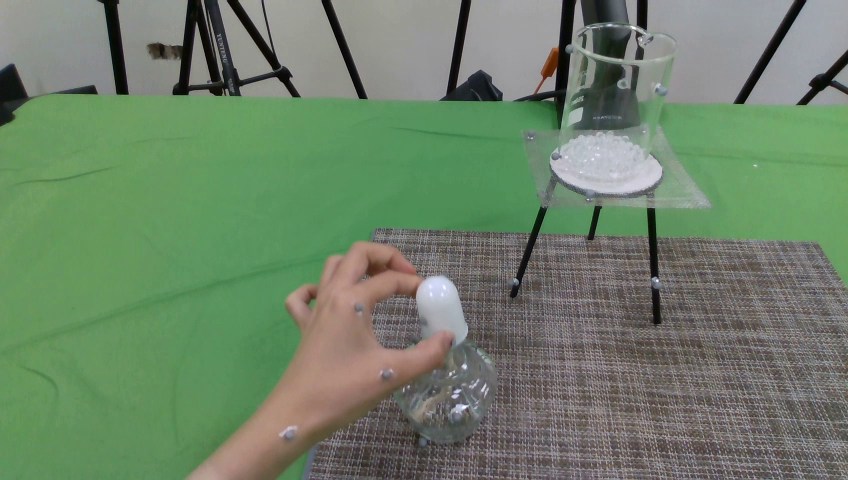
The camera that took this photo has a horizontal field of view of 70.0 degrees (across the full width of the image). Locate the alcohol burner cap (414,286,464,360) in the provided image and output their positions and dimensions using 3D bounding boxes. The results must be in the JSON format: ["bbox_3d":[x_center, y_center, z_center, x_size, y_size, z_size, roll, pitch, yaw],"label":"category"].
[{"bbox_3d":[0.008,0.051,0.398,0.034,0.048,0.033,-5,35,4],"label":"alcohol burner cap"}]

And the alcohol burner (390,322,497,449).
[{"bbox_3d":[0.014,0.092,0.427,0.078,0.120,0.077,0,40,1],"label":"alcohol burner"}]

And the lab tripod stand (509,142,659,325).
[{"bbox_3d":[0.151,-0.007,0.529,0.148,0.132,0.147,0,38,0],"label":"lab tripod stand"}]

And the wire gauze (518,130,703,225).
[{"bbox_3d":[0.144,-0.055,0.485,0.125,0.011,0.120,2,40,-1],"label":"wire gauze"}]

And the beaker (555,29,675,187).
[{"bbox_3d":[0.142,-0.099,0.462,0.073,0.101,0.084,27,46,29],"label":"beaker"}]
